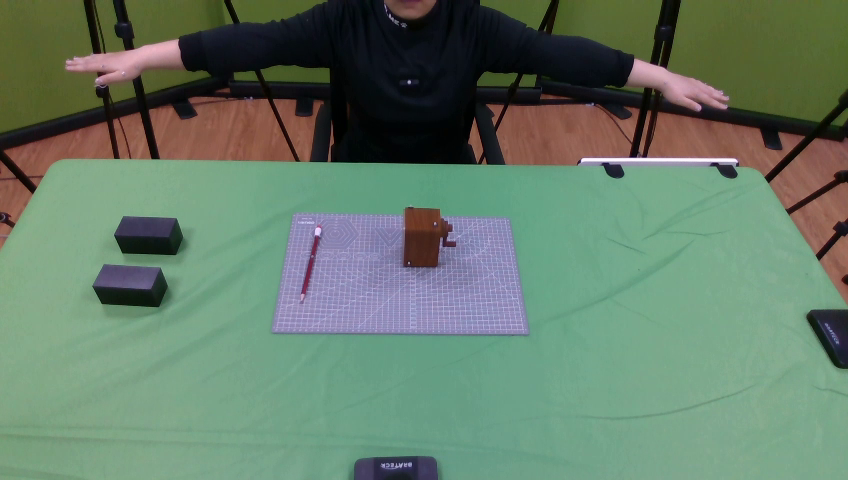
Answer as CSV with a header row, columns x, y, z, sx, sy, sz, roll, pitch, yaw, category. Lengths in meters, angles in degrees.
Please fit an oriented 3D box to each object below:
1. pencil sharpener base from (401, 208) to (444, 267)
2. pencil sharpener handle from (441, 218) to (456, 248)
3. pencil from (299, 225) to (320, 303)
x,y,z,sx,sy,sz,roll,pitch,yaw,category
-0.005,-0.003,1.137,0.077,0.107,0.061,1,45,-4,pencil sharpener base
0.047,-0.011,1.131,0.031,0.068,0.036,1,45,-3,pencil sharpener handle
-0.217,0.043,1.144,0.012,0.012,0.193,4,47,0,pencil
